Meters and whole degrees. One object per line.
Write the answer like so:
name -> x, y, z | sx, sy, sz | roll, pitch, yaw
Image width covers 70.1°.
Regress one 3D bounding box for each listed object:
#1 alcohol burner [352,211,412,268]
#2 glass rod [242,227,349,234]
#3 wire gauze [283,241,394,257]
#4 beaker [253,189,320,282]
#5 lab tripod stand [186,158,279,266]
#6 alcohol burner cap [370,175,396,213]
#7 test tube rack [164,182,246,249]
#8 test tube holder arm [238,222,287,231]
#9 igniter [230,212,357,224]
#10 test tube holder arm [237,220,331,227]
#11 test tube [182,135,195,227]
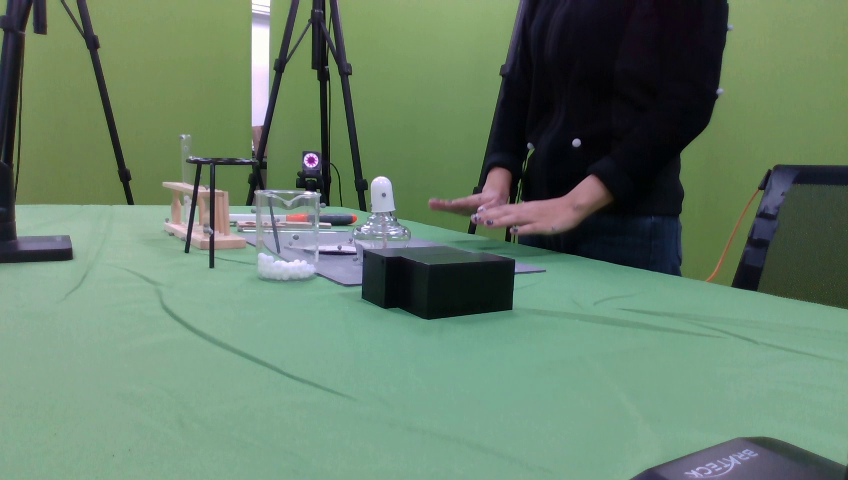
alcohol burner -> -0.055, -0.024, 0.784 | 0.078, 0.119, 0.078 | 2, 9, 0
glass rod -> -0.232, -0.017, 1.110 | 0.201, 0.008, 0.008 | 2, 6, -30
wire gauze -> -0.127, 0.012, 0.894 | 0.126, 0.011, 0.121 | 1, 6, -35
beaker -> -0.156, -0.005, 0.689 | 0.074, 0.100, 0.083 | 0, 8, -13
lab tripod stand -> -0.261, -0.042, 0.796 | 0.148, 0.131, 0.148 | 3, 9, 0
alcohol burner cap -> -0.055, -0.059, 0.778 | 0.034, 0.048, 0.034 | -7, 10, 1
test tube rack -> -0.360, -0.045, 0.983 | 0.067, 0.085, 0.241 | -3, 9, -34
test tube holder arm -> -0.297, -0.024, 1.113 | 0.088, 0.015, 0.010 | -2, 45, -33
igniter -> -0.271, -0.044, 1.232 | 0.278, 0.025, 0.057 | -1, -2, -27
test tube holder arm -> -0.261, -0.030, 1.141 | 0.179, 0.015, 0.013 | -3, 45, -33
test tube -> -0.382, -0.095, 0.983 | 0.017, 0.150, 0.017 | -1, 2, 0
